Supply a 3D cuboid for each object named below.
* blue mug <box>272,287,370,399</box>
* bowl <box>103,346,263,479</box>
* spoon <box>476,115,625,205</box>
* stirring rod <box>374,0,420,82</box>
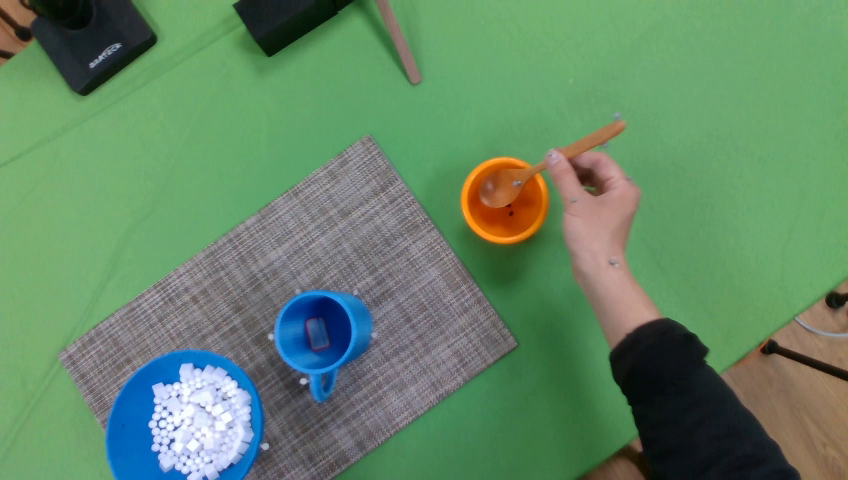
[{"bbox_3d":[-0.106,0.109,0.643,0.082,0.106,0.116,2,85,4],"label":"blue mug"},{"bbox_3d":[-0.226,0.186,0.606,0.151,0.077,0.150,-1,73,3],"label":"bowl"},{"bbox_3d":[0.117,-0.076,0.597,0.022,0.193,0.041,-22,89,-35],"label":"spoon"},{"bbox_3d":[-0.046,-0.265,0.691,0.014,0.006,0.177,-27,106,-5],"label":"stirring rod"}]
